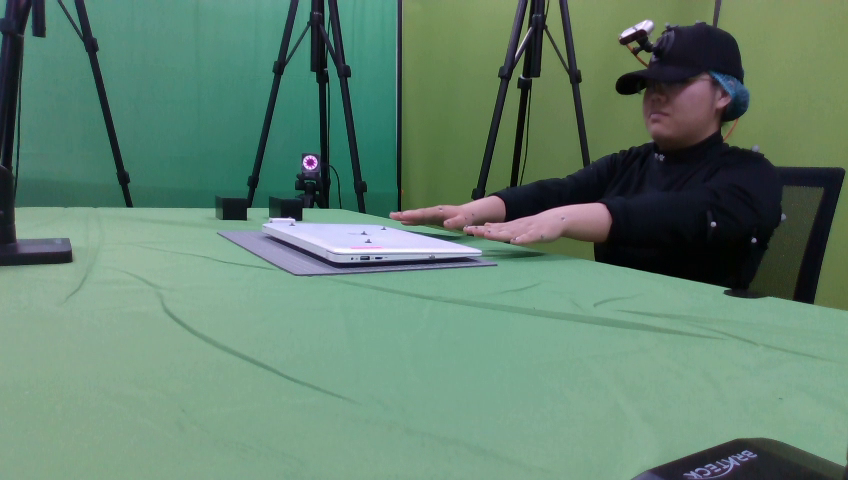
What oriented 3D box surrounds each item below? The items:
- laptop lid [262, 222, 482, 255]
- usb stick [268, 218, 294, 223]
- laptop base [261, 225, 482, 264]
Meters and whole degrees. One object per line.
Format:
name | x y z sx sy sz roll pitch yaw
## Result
laptop lid | -0.098 -0.005 0.964 0.243 0.013 0.355 1 7 -29
usb stick | -0.272 -0.027 1.119 0.059 0.027 0.021 -7 11 -34
laptop base | -0.101 0.006 0.965 0.237 0.023 0.352 2 6 -31
